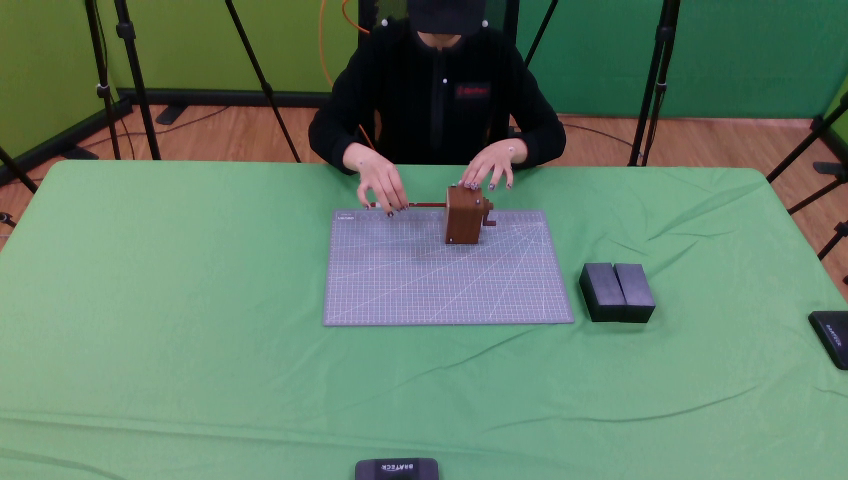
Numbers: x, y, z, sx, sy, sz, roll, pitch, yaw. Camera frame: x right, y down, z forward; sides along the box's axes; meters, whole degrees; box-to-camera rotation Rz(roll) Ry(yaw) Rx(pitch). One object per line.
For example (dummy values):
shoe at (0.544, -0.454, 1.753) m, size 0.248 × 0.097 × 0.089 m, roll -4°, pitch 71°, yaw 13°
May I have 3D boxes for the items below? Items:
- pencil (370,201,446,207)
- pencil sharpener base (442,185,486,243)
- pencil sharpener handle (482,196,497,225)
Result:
pencil at (-0.007, -0.069, 1.168) m, size 0.194 × 0.012 × 0.012 m, roll 1°, pitch 46°, yaw -1°
pencil sharpener base at (0.078, -0.049, 1.188) m, size 0.077 × 0.107 × 0.061 m, roll 1°, pitch 46°, yaw -3°
pencil sharpener handle at (0.130, -0.056, 1.182) m, size 0.031 × 0.068 × 0.036 m, roll 1°, pitch 43°, yaw -3°
